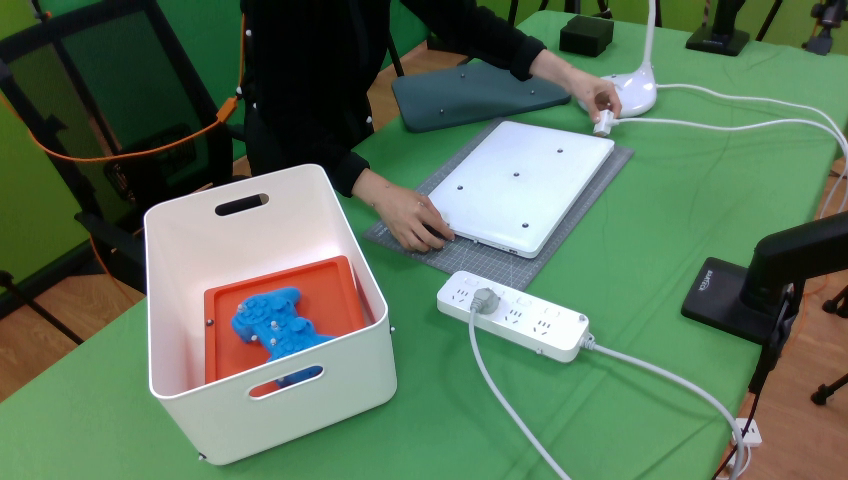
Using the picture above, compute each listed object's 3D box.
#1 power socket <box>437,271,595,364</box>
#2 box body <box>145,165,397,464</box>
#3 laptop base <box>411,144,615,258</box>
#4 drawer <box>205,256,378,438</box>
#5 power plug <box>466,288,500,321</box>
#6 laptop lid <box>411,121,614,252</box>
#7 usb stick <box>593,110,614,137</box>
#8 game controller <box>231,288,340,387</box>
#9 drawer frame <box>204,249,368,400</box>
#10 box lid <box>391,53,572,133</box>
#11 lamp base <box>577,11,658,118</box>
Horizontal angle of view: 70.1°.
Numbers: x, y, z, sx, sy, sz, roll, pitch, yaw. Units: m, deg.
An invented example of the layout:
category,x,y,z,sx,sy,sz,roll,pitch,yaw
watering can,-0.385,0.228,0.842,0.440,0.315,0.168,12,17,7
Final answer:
category,x,y,z,sx,sy,sz,roll,pitch,yaw
power socket,0.118,0.102,0.830,0.225,0.033,0.072,20,48,28
box body,-0.205,0.080,0.802,0.255,0.161,0.361,-18,41,-13
laptop base,0.167,-0.102,1.074,0.234,0.023,0.355,16,45,30
drawer,-0.177,0.130,0.787,0.195,0.073,0.210,-14,39,-9
power plug,0.072,0.093,0.813,0.035,0.053,0.073,30,55,35
laptop lid,0.164,-0.112,1.068,0.240,0.013,0.357,19,46,30
usb stick,0.342,-0.216,1.156,0.022,0.059,0.027,21,-7,-26
game controller,-0.167,0.110,0.735,0.097,0.052,0.154,-34,46,-23
drawer frame,-0.174,0.129,0.790,0.202,0.083,0.212,-16,45,-8
box lid,0.122,-0.339,1.366,0.372,0.015,0.261,-12,40,-5
lamp base,0.406,-0.363,1.222,0.180,0.181,0.159,-20,42,-18
